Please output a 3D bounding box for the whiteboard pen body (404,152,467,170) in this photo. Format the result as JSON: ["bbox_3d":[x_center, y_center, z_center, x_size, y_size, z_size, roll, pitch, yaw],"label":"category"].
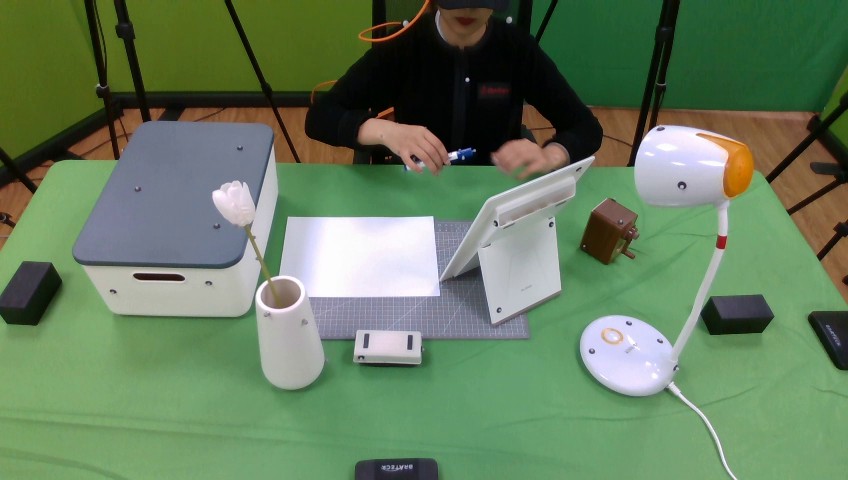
[{"bbox_3d":[0.027,-0.163,1.235,0.140,0.017,0.017,-10,45,13],"label":"whiteboard pen body"}]

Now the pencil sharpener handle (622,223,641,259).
[{"bbox_3d":[0.397,0.002,1.146,0.030,0.068,0.036,37,46,27],"label":"pencil sharpener handle"}]

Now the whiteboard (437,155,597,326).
[{"bbox_3d":[0.180,0.023,1.029,0.217,0.306,0.143,-21,71,-23],"label":"whiteboard"}]

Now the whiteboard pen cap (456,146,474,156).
[{"bbox_3d":[0.082,-0.178,1.220,0.033,0.018,0.018,-13,44,15],"label":"whiteboard pen cap"}]

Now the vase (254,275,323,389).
[{"bbox_3d":[-0.209,0.143,0.921,0.098,0.201,0.097,1,46,-1],"label":"vase"}]

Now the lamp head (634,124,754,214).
[{"bbox_3d":[0.351,-0.089,0.776,0.112,0.113,0.122,-30,30,-28],"label":"lamp head"}]

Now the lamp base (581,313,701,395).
[{"bbox_3d":[0.361,0.144,0.972,0.178,0.181,0.160,34,53,23],"label":"lamp base"}]

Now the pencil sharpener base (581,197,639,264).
[{"bbox_3d":[0.362,-0.017,1.179,0.076,0.107,0.061,37,54,27],"label":"pencil sharpener base"}]

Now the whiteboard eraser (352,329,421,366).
[{"bbox_3d":[-0.061,0.179,1.005,0.113,0.042,0.055,3,48,-3],"label":"whiteboard eraser"}]

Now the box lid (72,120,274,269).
[{"bbox_3d":[-0.417,-0.094,1.056,0.263,0.015,0.369,1,47,-3],"label":"box lid"}]

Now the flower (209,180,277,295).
[{"bbox_3d":[-0.217,0.075,0.871,0.044,0.363,0.038,-28,36,-19],"label":"flower"}]

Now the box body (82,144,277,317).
[{"bbox_3d":[-0.421,-0.041,1.108,0.254,0.161,0.361,2,46,-3],"label":"box body"}]
